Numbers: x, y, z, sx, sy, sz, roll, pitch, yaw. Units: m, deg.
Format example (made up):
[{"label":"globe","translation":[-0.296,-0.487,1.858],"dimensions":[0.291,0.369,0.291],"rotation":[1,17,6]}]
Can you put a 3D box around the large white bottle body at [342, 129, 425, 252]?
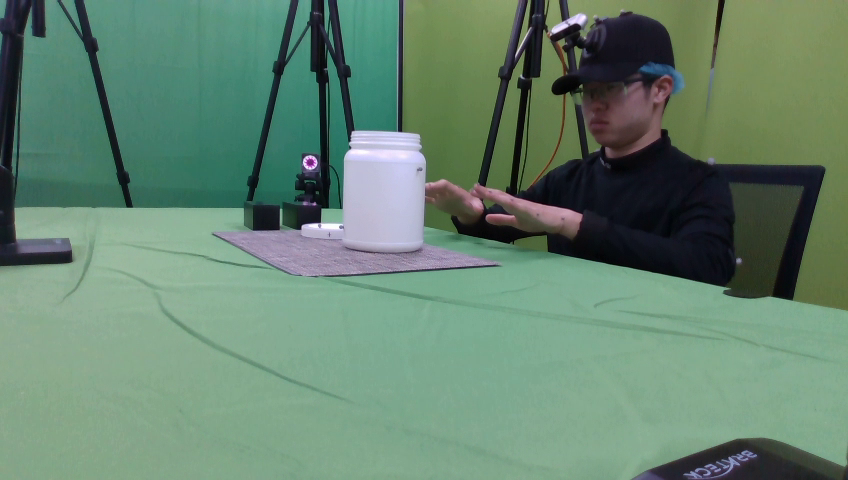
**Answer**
[{"label":"large white bottle body","translation":[-0.064,-0.080,0.957],"dimensions":[0.131,0.184,0.130],"rotation":[2,8,0]}]

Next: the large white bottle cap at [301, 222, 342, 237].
[{"label":"large white bottle cap","translation":[-0.167,-0.019,1.103],"dimensions":[0.115,0.018,0.115],"rotation":[2,7,0]}]
